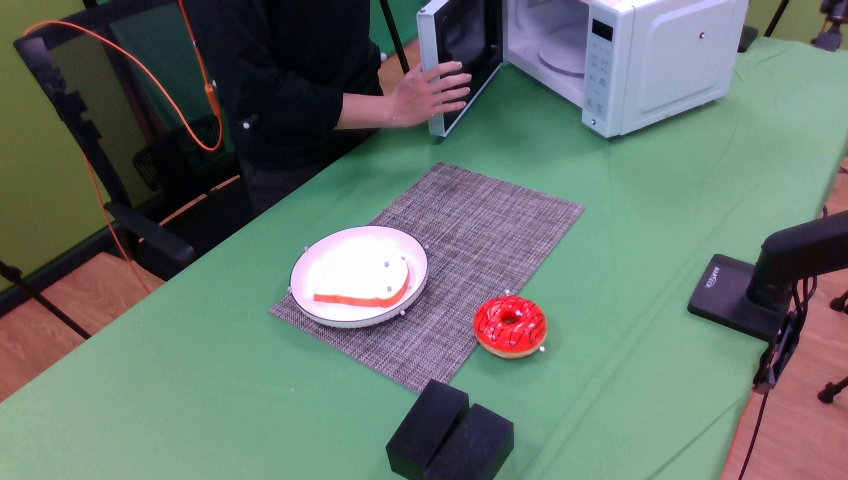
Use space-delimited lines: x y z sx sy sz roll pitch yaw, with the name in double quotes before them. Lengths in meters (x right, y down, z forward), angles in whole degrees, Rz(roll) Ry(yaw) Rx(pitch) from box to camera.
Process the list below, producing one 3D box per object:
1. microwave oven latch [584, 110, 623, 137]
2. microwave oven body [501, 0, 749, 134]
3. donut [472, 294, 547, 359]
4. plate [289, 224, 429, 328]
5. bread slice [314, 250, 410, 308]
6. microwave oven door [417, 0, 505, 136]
"microwave oven latch" 0.337 -0.222 1.142 0.030 0.029 0.078 -21 42 -14
"microwave oven body" 0.382 -0.445 1.246 0.327 0.261 0.437 -22 42 -16
"donut" 0.114 0.114 0.803 0.099 0.048 0.098 0 40 1
"plate" -0.094 0.055 0.902 0.207 0.039 0.206 -4 41 4
"bread slice" -0.087 0.056 0.900 0.131 0.019 0.104 5 43 14
"microwave oven door" 0.087 -0.409 1.238 0.039 0.245 0.356 13 45 22
